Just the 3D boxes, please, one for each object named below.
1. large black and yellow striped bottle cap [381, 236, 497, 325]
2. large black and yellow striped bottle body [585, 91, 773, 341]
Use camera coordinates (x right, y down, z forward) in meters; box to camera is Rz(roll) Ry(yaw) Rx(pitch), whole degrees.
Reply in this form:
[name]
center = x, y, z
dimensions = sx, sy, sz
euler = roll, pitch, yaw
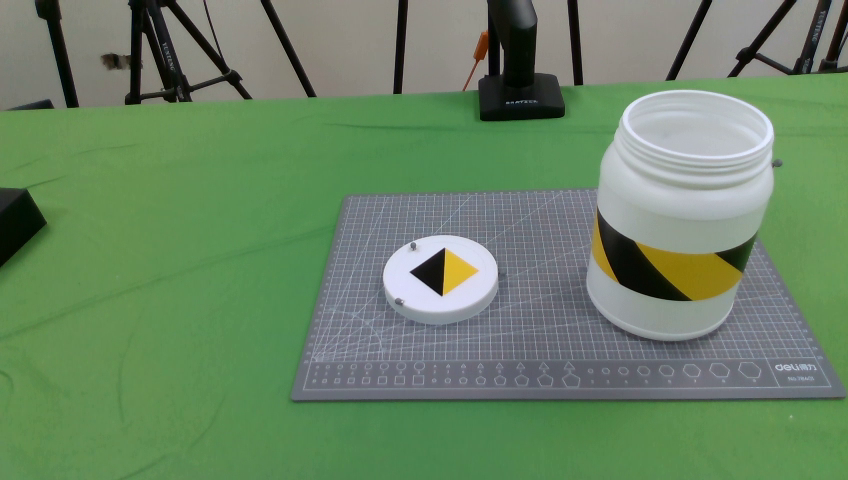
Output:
[large black and yellow striped bottle cap]
center = 0.014, 0.037, 0.602
dimensions = 0.115, 0.019, 0.114
euler = -2, 40, 2
[large black and yellow striped bottle body]
center = 0.211, -0.019, 0.516
dimensions = 0.131, 0.186, 0.129
euler = -3, 40, 3
